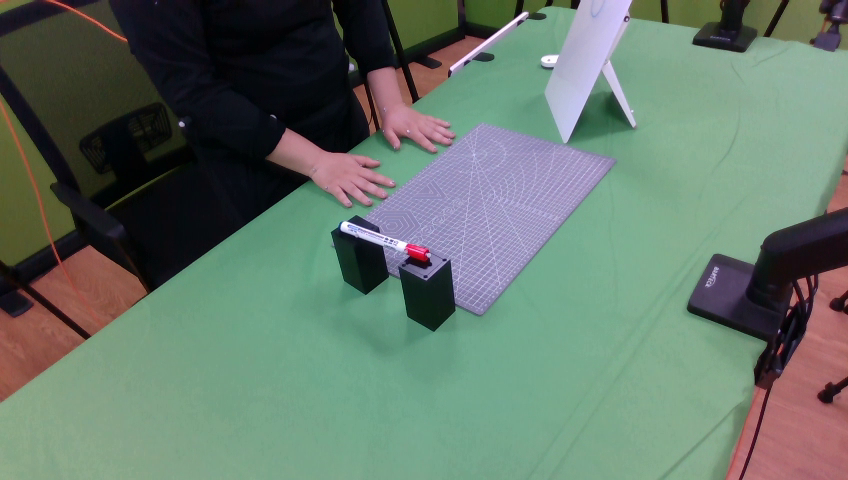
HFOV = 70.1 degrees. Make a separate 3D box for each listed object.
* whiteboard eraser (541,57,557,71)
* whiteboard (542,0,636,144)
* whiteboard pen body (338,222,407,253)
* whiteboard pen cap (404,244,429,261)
[{"bbox_3d":[0.323,-0.412,1.407,0.101,0.019,0.041,1,42,11],"label":"whiteboard eraser"},{"bbox_3d":[0.365,-0.351,1.160,0.144,0.305,0.216,10,39,-10],"label":"whiteboard"},{"bbox_3d":[-0.061,-0.001,0.828,0.139,0.017,0.017,18,46,28],"label":"whiteboard pen body"},{"bbox_3d":[-0.010,0.015,0.801,0.032,0.017,0.017,18,46,29],"label":"whiteboard pen cap"}]
